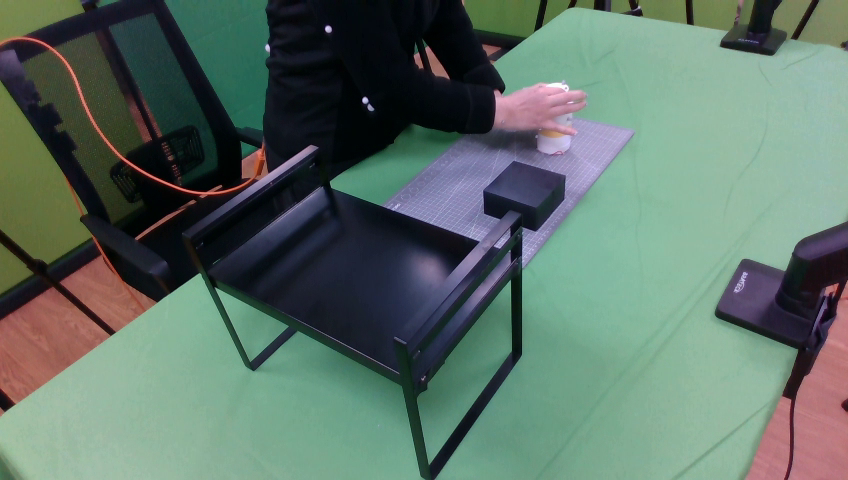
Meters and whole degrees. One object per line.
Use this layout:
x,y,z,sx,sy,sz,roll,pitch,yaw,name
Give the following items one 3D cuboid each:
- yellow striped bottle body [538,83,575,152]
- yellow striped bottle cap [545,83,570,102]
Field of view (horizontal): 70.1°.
0.247,-0.229,1.124,0.063,0.121,0.062,-3,42,3,yellow striped bottle body
0.240,-0.266,1.089,0.044,0.019,0.044,-3,40,3,yellow striped bottle cap
